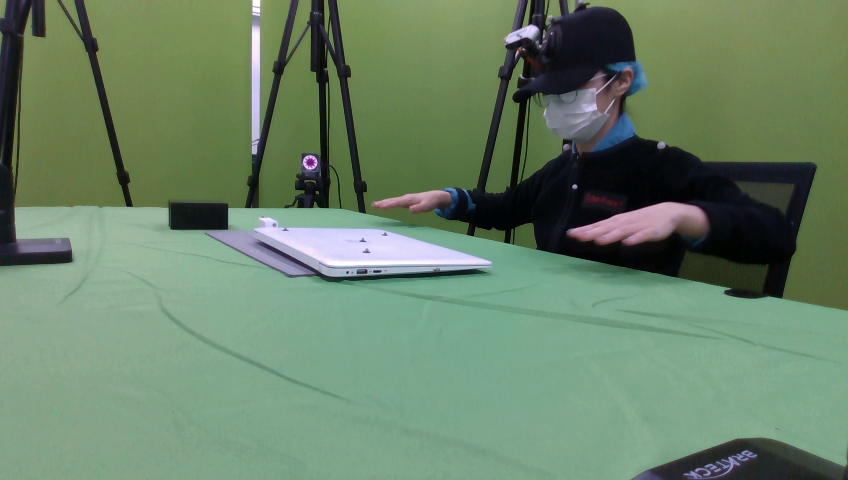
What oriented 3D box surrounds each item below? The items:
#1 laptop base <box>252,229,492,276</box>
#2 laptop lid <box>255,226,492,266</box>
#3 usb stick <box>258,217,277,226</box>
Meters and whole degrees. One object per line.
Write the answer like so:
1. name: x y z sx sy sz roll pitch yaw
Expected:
1. laptop base: -0.094 0.016 0.889 0.237 0.023 0.352 2 7 -30
2. laptop lid: -0.092 0.003 0.888 0.243 0.013 0.355 1 8 -28
3. usb stick: -0.261 -0.022 1.016 0.021 0.027 0.059 0 13 -29
